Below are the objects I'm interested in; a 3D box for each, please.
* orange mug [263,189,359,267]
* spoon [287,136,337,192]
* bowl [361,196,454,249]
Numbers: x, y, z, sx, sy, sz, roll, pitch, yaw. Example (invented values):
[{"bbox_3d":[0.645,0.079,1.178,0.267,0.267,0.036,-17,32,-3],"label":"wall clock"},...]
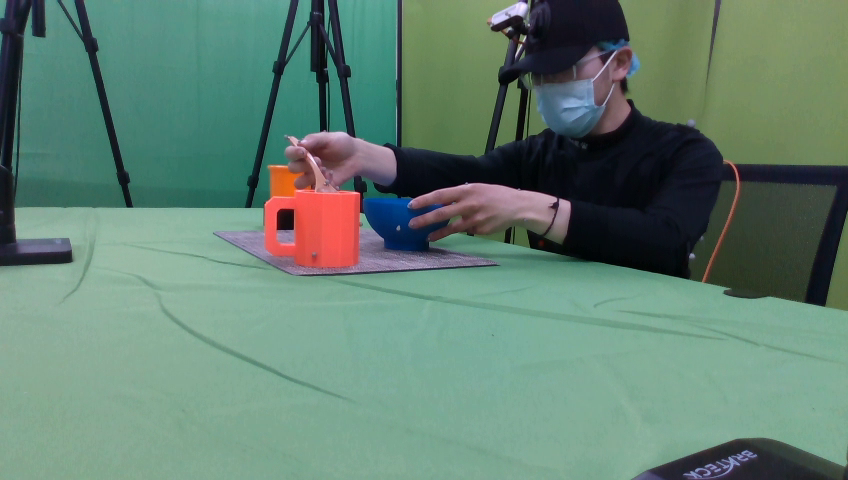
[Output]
[{"bbox_3d":[-0.147,-0.019,0.795,0.127,0.100,0.083,4,6,-19],"label":"orange mug"},{"bbox_3d":[-0.154,-0.100,0.842,0.042,0.021,0.193,0,38,-33],"label":"spoon"},{"bbox_3d":[-0.028,-0.028,0.983,0.151,0.077,0.151,3,7,0],"label":"bowl"}]
